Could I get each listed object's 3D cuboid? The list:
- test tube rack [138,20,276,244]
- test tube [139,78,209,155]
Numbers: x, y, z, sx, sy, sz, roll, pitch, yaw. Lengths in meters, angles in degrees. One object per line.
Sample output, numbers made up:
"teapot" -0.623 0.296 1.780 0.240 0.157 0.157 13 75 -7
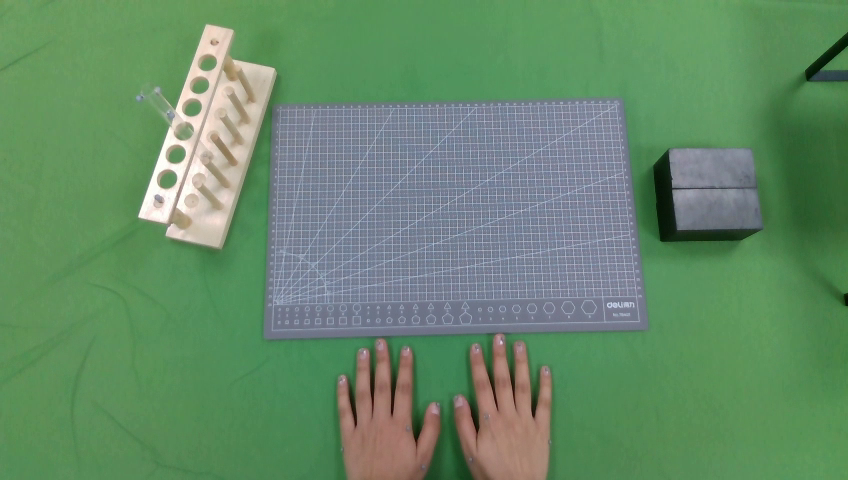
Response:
"test tube rack" -0.250 -0.126 0.719 0.067 0.085 0.241 13 76 2
"test tube" -0.271 -0.132 0.670 0.017 0.151 0.017 -1 72 2
